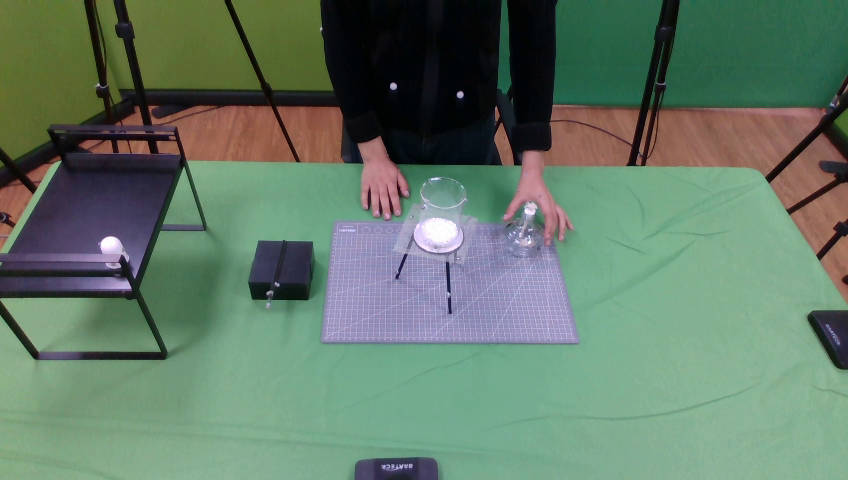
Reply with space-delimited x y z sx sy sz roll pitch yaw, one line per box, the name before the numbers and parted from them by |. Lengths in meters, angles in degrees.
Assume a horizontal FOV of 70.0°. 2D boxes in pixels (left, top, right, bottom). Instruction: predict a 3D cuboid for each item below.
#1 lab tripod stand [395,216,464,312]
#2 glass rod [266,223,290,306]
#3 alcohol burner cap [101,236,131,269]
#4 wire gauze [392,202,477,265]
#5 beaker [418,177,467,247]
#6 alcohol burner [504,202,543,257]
lab tripod stand | 0.023 0.036 1.084 0.148 0.132 0.147 4 46 -4
glass rod | -0.260 0.039 1.083 0.008 0.008 0.198 3 45 -1
alcohol burner cap | -0.452 0.016 0.883 0.034 0.048 0.033 2 47 -2
wire gauze | 0.021 -0.011 1.037 0.121 0.011 0.124 13 49 8
beaker | 0.026 -0.045 1.004 0.074 0.101 0.083 -21 51 -23
alcohol burner | 0.195 -0.025 1.171 0.078 0.119 0.077 2 44 -2
